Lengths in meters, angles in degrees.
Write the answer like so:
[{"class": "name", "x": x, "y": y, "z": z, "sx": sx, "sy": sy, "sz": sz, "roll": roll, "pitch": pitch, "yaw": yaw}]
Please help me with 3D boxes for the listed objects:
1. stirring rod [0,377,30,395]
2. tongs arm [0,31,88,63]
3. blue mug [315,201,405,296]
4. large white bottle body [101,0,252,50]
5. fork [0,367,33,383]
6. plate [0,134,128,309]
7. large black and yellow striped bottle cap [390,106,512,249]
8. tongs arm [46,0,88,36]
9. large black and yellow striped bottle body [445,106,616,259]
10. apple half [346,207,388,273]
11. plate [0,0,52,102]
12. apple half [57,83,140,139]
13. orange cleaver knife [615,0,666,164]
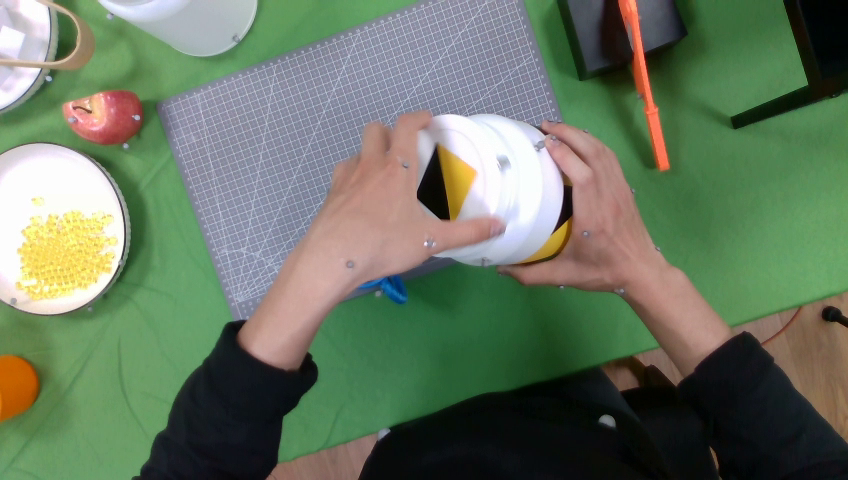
[{"class": "stirring rod", "x": -0.561, "y": 0.192, "z": 0.703, "sx": 0.177, "sy": 0.006, "sz": 0.014, "roll": -13, "pitch": 81, "yaw": -35}, {"class": "tongs arm", "x": -0.576, "y": -0.239, "z": 0.695, "sx": 0.384, "sy": 0.026, "sz": 0.051, "roll": 10, "pitch": 91, "yaw": 5}, {"class": "blue mug", "x": -0.058, "y": 0.013, "z": 0.672, "sx": 0.082, "sy": 0.106, "sz": 0.116, "roll": -34, "pitch": 91, "yaw": 6}, {"class": "large white bottle body", "x": -0.272, "y": -0.286, "z": 0.630, "sx": 0.130, "sy": 0.184, "sz": 0.130, "roll": 0, "pitch": 93, "yaw": 5}, {"class": "fork", "x": -0.576, "y": 0.175, "z": 0.700, "sx": 0.208, "sy": 0.018, "sz": 0.028, "roll": -4, "pitch": 93, "yaw": -39}, {"class": "plate", "x": -0.455, "y": -0.022, "z": 0.734, "sx": 0.209, "sy": 0.038, "sz": 0.209, "roll": 0, "pitch": 94, "yaw": 4}, {"class": "large black and yellow striped bottle cap", "x": 0.018, "y": -0.050, "z": 0.486, "sx": 0.114, "sy": 0.019, "sz": 0.115, "roll": 1, "pitch": 92, "yaw": 41}, {"class": "tongs arm", "x": -0.555, "y": -0.320, "z": 0.690, "sx": 0.387, "sy": 0.028, "sz": 0.028, "roll": 24, "pitch": 89, "yaw": 4}, {"class": "large black and yellow striped bottle body", "x": 0.075, "y": -0.048, "z": 0.548, "sx": 0.130, "sy": 0.185, "sz": 0.130, "roll": 0, "pitch": 90, "yaw": 43}, {"class": "apple half", "x": -0.056, "y": 0.002, "z": 0.666, "sx": 0.032, "sy": 0.081, "sz": 0.081, "roll": 12, "pitch": 94, "yaw": 12}, {"class": "plate", "x": -0.540, "y": -0.261, "z": 0.724, "sx": 0.207, "sy": 0.039, "sz": 0.208, "roll": 0, "pitch": 94, "yaw": 4}, {"class": "apple half", "x": -0.371, "y": -0.145, "z": 0.702, "sx": 0.081, "sy": 0.074, "sz": 0.053, "roll": -15, "pitch": 96, "yaw": 1}, {"class": "orange cleaver knife", "x": 0.230, "y": -0.184, "z": 0.653, "sx": 0.012, "sy": 0.076, "sz": 0.213, "roll": -17, "pitch": 119, "yaw": 14}]
